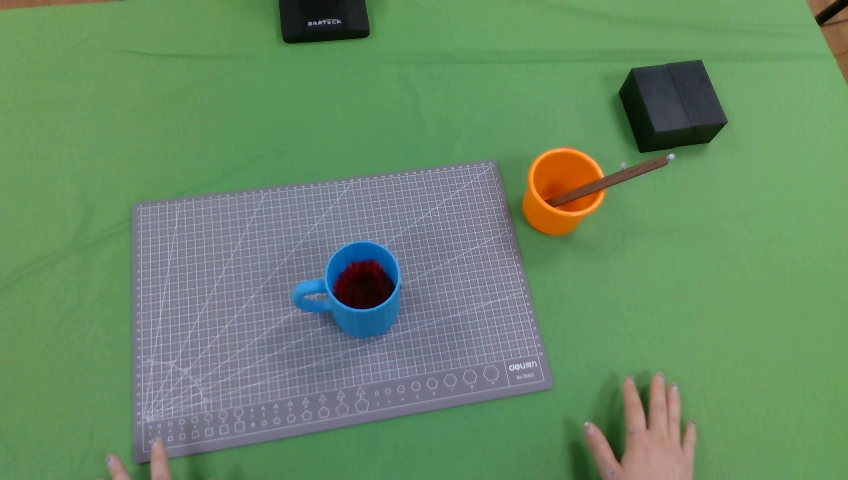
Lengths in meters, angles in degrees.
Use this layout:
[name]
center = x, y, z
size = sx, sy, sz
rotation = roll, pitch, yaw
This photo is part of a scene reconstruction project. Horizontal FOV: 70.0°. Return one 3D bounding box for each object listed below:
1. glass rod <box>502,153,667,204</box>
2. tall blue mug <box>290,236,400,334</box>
[glass rod]
center = 0.181, -0.070, 0.707
size = 0.199, 0.008, 0.008
rotation = -15, 63, 31
[tall blue mug]
center = -0.079, 0.058, 0.645
size = 0.107, 0.108, 0.077
rotation = -31, 73, -16
